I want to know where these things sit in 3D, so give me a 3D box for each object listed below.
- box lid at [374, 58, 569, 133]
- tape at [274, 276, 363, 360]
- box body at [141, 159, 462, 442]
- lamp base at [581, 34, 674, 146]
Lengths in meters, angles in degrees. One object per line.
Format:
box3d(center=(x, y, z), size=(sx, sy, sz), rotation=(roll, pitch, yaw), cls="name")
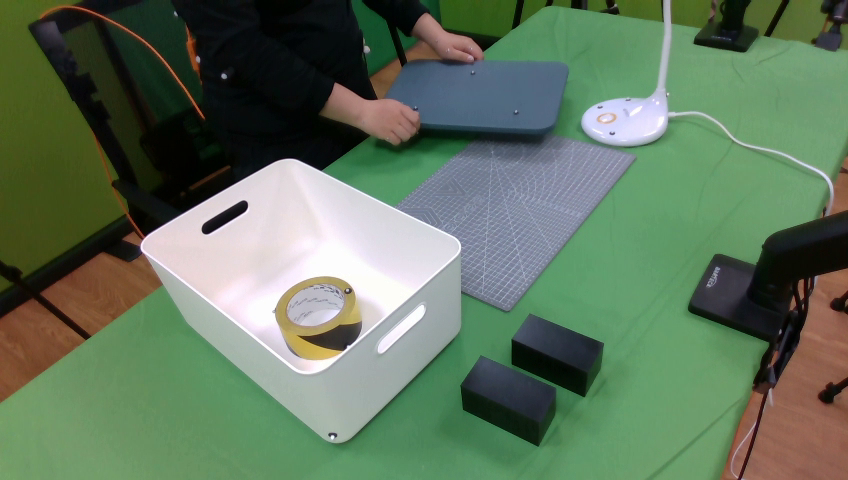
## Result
box3d(center=(0.103, -0.304, 1.246), size=(0.370, 0.015, 0.263), rotation=(6, 45, 16), cls="box lid")
box3d(center=(-0.144, 0.106, 0.833), size=(0.117, 0.053, 0.116), rotation=(-4, 41, 4), cls="tape")
box3d(center=(-0.153, 0.063, 0.809), size=(0.361, 0.161, 0.255), rotation=(27, 51, 33), cls="box body")
box3d(center=(0.392, -0.291, 1.129), size=(0.180, 0.181, 0.159), rotation=(-11, 41, -8), cls="lamp base")
